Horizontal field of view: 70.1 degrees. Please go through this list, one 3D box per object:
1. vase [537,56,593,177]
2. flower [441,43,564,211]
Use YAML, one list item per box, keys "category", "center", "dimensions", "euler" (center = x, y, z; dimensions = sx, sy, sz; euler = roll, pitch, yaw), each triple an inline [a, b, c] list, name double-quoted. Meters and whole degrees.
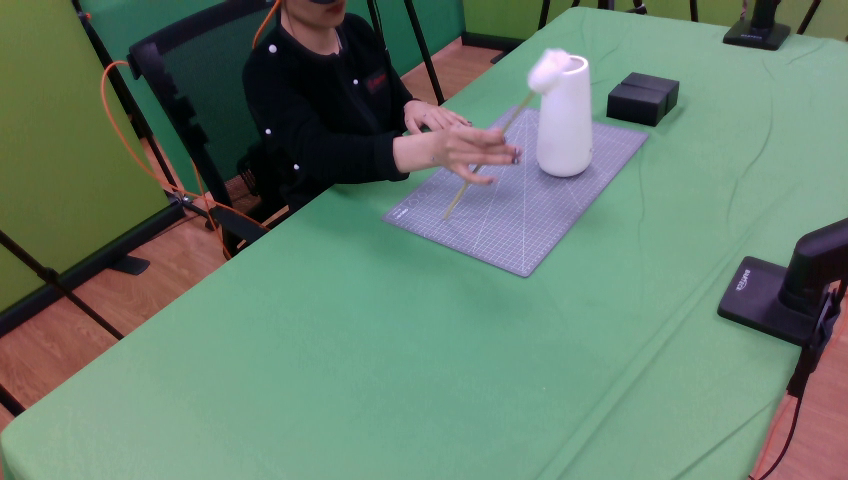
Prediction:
- category: "vase"
  center: [0.245, -0.209, 1.040]
  dimensions: [0.098, 0.201, 0.097]
  euler: [-4, 40, 4]
- category: "flower"
  center: [0.098, -0.144, 0.895]
  dimensions: [0.038, 0.361, 0.044]
  euler: [27, 51, -6]
